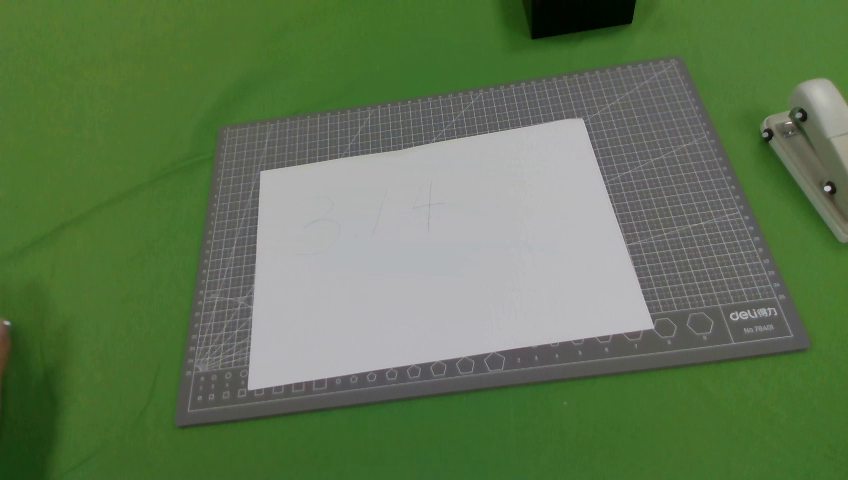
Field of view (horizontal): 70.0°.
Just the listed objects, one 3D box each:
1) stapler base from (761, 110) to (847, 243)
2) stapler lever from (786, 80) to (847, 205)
[{"bbox_3d":[0.315,-0.059,0.476,0.041,0.025,0.129,-16,58,2],"label":"stapler base"},{"bbox_3d":[0.312,-0.071,0.454,0.027,0.040,0.117,-16,58,2],"label":"stapler lever"}]
